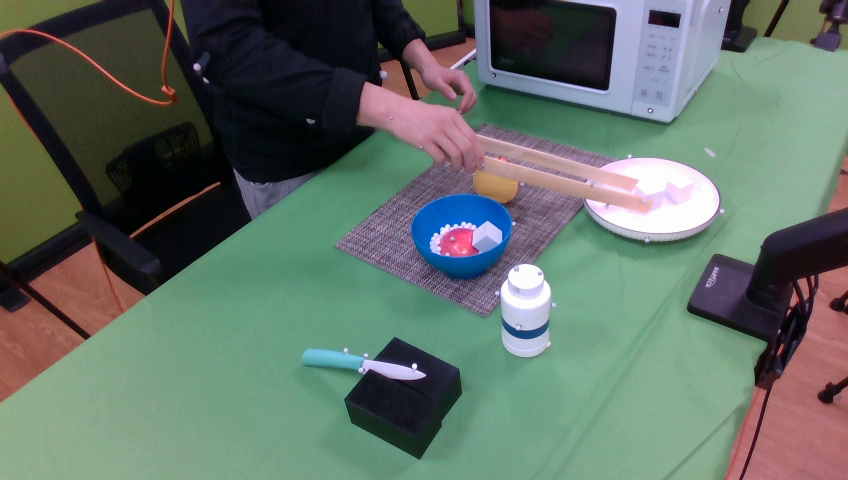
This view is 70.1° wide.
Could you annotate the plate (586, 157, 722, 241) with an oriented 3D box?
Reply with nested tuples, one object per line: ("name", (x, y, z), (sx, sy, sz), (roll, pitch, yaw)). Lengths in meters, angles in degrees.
("plate", (0.367, -0.063, 0.979), (0.207, 0.039, 0.206), (-4, 41, 4))

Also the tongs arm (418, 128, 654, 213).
("tongs arm", (0.177, -0.101, 0.912), (0.387, 0.026, 0.050), (11, 38, -19))

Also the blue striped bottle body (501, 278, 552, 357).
("blue striped bottle body", (0.129, 0.089, 0.769), (0.063, 0.121, 0.063), (-4, 40, 4))

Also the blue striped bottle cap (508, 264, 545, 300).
("blue striped bottle cap", (0.125, 0.051, 0.735), (0.044, 0.021, 0.044), (-6, 39, 5))

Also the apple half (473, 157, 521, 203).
("apple half", (0.128, -0.107, 1.030), (0.080, 0.075, 0.053), (5, 38, 19))

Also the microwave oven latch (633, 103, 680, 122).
("microwave oven latch", (0.444, -0.249, 1.157), (0.078, 0.029, 0.030), (21, 49, 30))

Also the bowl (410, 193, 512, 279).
("bowl", (0.058, 0.005, 0.905), (0.151, 0.077, 0.150), (-4, 40, 4))

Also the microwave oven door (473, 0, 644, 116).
("microwave oven door", (0.257, -0.395, 1.198), (0.353, 0.245, 0.039), (21, 48, 29))

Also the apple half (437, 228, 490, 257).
("apple half", (0.056, 0.002, 0.902), (0.081, 0.033, 0.081), (-3, 40, 3))

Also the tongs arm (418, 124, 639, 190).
("tongs arm", (0.173, -0.125, 0.942), (0.390, 0.028, 0.028), (11, 42, -20))

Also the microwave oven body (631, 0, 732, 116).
("microwave oven body", (0.377, -0.462, 1.267), (0.438, 0.261, 0.327), (21, 48, 30))

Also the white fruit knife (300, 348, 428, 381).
("white fruit knife", (-0.079, 0.155, 0.748), (0.206, 0.027, 0.016), (0, 20, 34))
